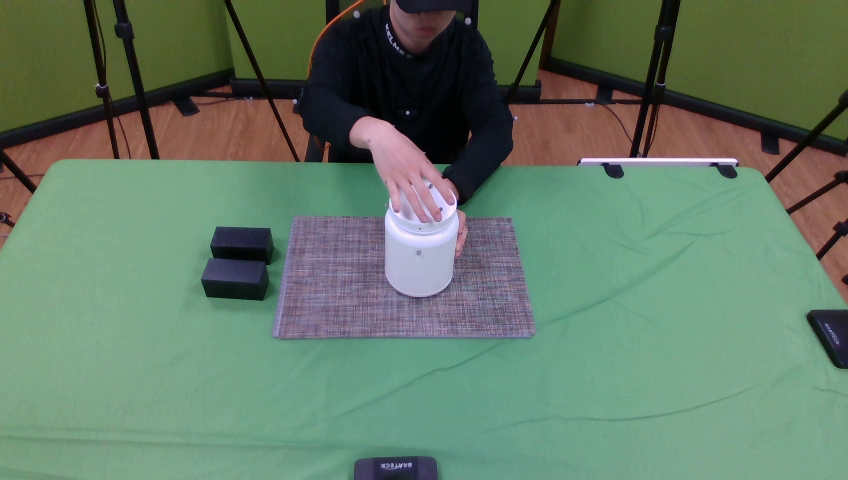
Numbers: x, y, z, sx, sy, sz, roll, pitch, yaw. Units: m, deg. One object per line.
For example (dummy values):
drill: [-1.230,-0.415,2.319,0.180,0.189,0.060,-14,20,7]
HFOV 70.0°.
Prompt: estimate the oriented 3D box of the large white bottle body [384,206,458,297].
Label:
large white bottle body: [-0.007,-0.002,1.081,0.131,0.185,0.130,2,46,-2]

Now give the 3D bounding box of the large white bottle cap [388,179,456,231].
large white bottle cap: [-0.003,-0.061,1.020,0.115,0.018,0.114,2,47,-2]
